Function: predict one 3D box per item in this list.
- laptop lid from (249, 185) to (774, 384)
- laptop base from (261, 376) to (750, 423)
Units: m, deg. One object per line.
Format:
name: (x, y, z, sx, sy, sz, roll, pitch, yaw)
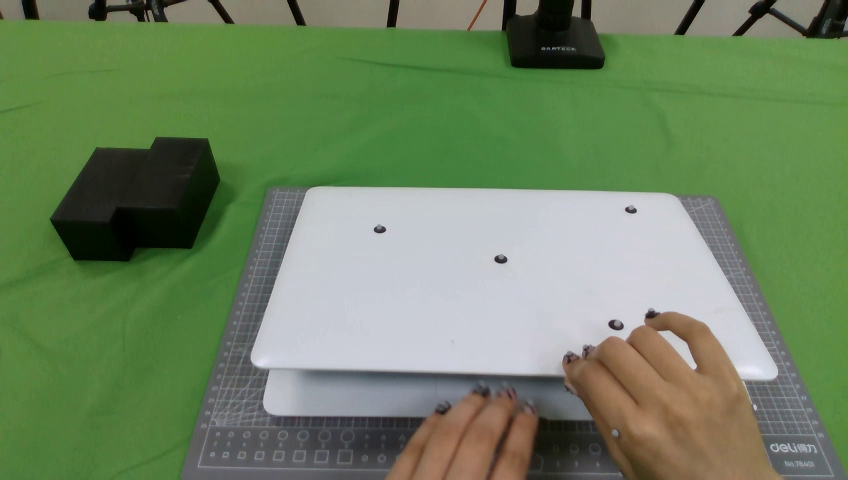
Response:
laptop lid: (0.060, 0.021, 0.486, 0.357, 0.013, 0.239, 2, 37, 1)
laptop base: (0.060, 0.046, 0.510, 0.354, 0.023, 0.233, 1, 49, -1)
